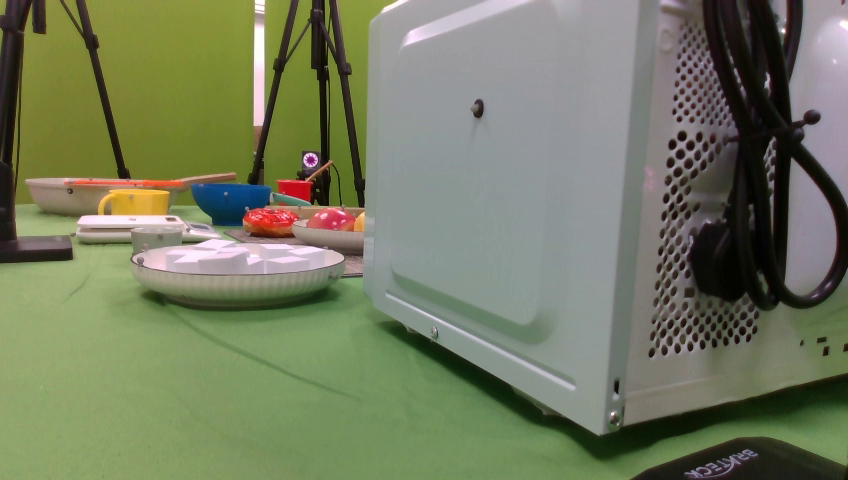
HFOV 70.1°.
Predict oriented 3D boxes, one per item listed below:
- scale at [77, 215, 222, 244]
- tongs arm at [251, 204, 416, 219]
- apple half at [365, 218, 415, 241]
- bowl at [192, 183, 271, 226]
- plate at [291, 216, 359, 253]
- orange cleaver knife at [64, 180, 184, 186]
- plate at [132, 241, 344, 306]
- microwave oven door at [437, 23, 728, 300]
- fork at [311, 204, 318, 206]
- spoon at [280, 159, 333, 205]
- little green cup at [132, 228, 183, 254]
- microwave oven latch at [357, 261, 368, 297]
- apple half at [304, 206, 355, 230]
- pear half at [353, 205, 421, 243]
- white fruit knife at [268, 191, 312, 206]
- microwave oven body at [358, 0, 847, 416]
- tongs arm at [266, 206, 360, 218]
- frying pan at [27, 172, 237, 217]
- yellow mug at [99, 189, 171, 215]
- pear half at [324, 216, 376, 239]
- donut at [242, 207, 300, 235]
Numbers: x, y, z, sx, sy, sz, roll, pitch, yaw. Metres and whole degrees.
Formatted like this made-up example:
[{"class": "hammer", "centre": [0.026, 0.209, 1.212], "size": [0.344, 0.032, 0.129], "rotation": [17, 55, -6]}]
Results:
[{"class": "scale", "centre": [-0.434, -0.019, 0.963], "size": [0.202, 0.031, 0.148], "rotation": [-1, 9, -27]}, {"class": "tongs arm", "centre": [-0.211, -0.068, 1.440], "size": [0.389, 0.027, 0.028], "rotation": [0, -1, -17]}, {"class": "apple half", "centre": [-0.053, -0.019, 0.966], "size": [0.081, 0.033, 0.081], "rotation": [-3, 11, 1]}, {"class": "bowl", "centre": [-0.382, -0.071, 1.202], "size": [0.151, 0.077, 0.151], "rotation": [3, 7, 0]}, {"class": "plate", "centre": [-0.103, -0.009, 0.945], "size": [0.209, 0.038, 0.209], "rotation": [2, 8, 0]}, {"class": "orange cleaver knife", "centre": [-0.595, -0.114, 1.212], "size": [0.212, 0.012, 0.077], "rotation": [-4, 6, -41]}, {"class": "plate", "centre": [-0.187, 0.033, 0.625], "size": [0.208, 0.039, 0.207], "rotation": [2, 8, 0]}, {"class": "microwave oven door", "centre": [0.180, -0.072, 0.621], "size": [0.358, 0.243, 0.039], "rotation": [-2, 8, -29]}, {"class": "fork", "centre": [-0.356, -0.105, 1.526], "size": [0.208, 0.018, 0.028], "rotation": [16, -5, -41]}, {"class": "spoon", "centre": [-0.317, -0.159, 1.640], "size": [0.194, 0.022, 0.041], "rotation": [-49, 32, -20]}, {"class": "little green cup", "centre": [-0.342, 0.006, 0.779], "size": [0.061, 0.038, 0.061], "rotation": [2, 8, 0]}, {"class": "microwave oven latch", "centre": [-0.019, 0.033, 0.531], "size": [0.079, 0.029, 0.030], "rotation": [-1, 7, -27]}, {"class": "apple half", "centre": [-0.138, -0.025, 0.917], "size": [0.081, 0.053, 0.074], "rotation": [0, 10, -43]}, {"class": "pear half", "centre": [-0.051, -0.024, 0.905], "size": [0.110, 0.056, 0.076], "rotation": [0, -2, -38]}, {"class": "white fruit knife", "centre": [-0.364, -0.105, 1.464], "size": [0.208, 0.027, 0.016], "rotation": [15, -1, -34]}, {"class": "microwave oven body", "centre": [0.211, -0.047, 0.475], "size": [0.444, 0.260, 0.324], "rotation": [-1, 7, -28]}, {"class": "tongs arm", "centre": [-0.174, -0.061, 1.363], "size": [0.387, 0.026, 0.050], "rotation": [-1, 3, -31]}, {"class": "frying pan", "centre": [-0.624, -0.118, 1.387], "size": [0.305, 0.102, 0.490], "rotation": [8, 17, 32]}, {"class": "yellow mug", "centre": [-0.519, -0.055, 1.080], "size": [0.099, 0.064, 0.131], "rotation": [7, 9, 26]}, {"class": "pear half", "centre": [-0.119, -0.023, 0.996], "size": [0.088, 0.031, 0.070], "rotation": [-4, 23, -29]}, {"class": "donut", "centre": [-0.263, -0.032, 1.039], "size": [0.099, 0.048, 0.099], "rotation": [4, 10, 0]}]
